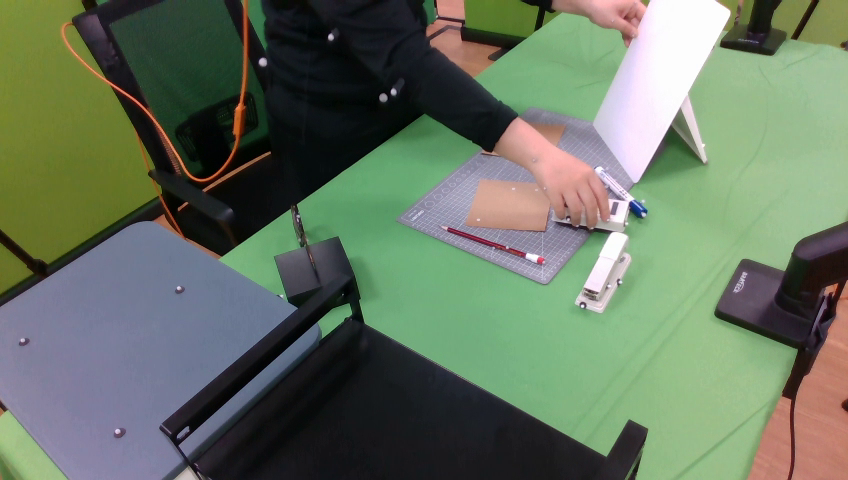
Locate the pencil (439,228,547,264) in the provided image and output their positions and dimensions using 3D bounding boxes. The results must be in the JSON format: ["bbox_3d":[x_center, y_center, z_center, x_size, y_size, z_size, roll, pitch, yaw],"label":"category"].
[{"bbox_3d":[0.105,0.007,0.957,0.192,0.012,0.012,18,46,30],"label":"pencil"}]

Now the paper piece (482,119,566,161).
[{"bbox_3d":[0.198,-0.199,1.188,0.135,0.004,0.135,11,43,19],"label":"paper piece"}]

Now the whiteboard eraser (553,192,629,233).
[{"bbox_3d":[0.267,-0.042,0.966,0.112,0.042,0.055,10,44,20],"label":"whiteboard eraser"}]

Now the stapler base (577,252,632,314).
[{"bbox_3d":[0.264,0.051,0.875,0.041,0.024,0.131,16,47,30],"label":"stapler base"}]

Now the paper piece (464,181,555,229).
[{"bbox_3d":[0.149,-0.061,1.034,0.137,0.009,0.136,5,37,16],"label":"paper piece"}]

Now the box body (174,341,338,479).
[{"bbox_3d":[-0.311,0.165,0.720,0.361,0.161,0.255,23,48,32],"label":"box body"}]

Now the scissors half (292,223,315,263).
[{"bbox_3d":[-0.188,0.007,0.954,0.013,0.040,0.174,-17,20,-15],"label":"scissors half"}]

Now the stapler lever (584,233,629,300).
[{"bbox_3d":[0.260,0.034,0.858,0.026,0.040,0.118,16,46,30],"label":"stapler lever"}]

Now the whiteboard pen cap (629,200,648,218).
[{"bbox_3d":[0.347,-0.052,0.983,0.018,0.018,0.033,-18,43,-12],"label":"whiteboard pen cap"}]

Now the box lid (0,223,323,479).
[{"bbox_3d":[-0.318,0.109,0.671,0.368,0.015,0.264,24,50,31],"label":"box lid"}]

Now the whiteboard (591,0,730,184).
[{"bbox_3d":[0.451,-0.269,1.054,0.144,0.305,0.216,7,37,-14],"label":"whiteboard"}]

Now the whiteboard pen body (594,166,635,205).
[{"bbox_3d":[0.331,-0.085,1.027,0.017,0.017,0.139,-17,42,-11],"label":"whiteboard pen body"}]

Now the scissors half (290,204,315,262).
[{"bbox_3d":[-0.189,-0.011,0.945,0.013,0.040,0.173,-12,36,-18],"label":"scissors half"}]
